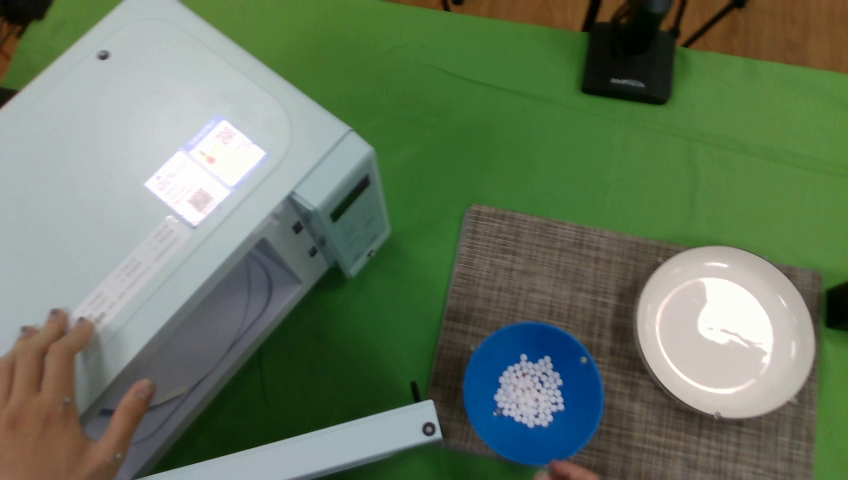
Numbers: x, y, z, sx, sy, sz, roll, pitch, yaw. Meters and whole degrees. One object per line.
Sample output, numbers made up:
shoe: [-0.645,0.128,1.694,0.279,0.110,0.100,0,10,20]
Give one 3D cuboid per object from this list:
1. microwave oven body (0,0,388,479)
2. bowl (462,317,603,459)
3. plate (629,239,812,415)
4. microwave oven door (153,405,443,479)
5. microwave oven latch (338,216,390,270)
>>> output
microwave oven body: [-0.303,0.014,0.641,0.324,0.261,0.441,37,77,11]
bowl: [0.117,0.167,0.682,0.151,0.077,0.150,0,72,1]
plate: [0.346,0.103,0.721,0.208,0.039,0.206,0,73,1]
microwave oven door: [-0.157,0.215,0.571,0.356,0.245,0.039,-15,72,-4]
microwave oven latch: [-0.075,-0.002,0.744,0.030,0.029,0.079,39,78,11]
